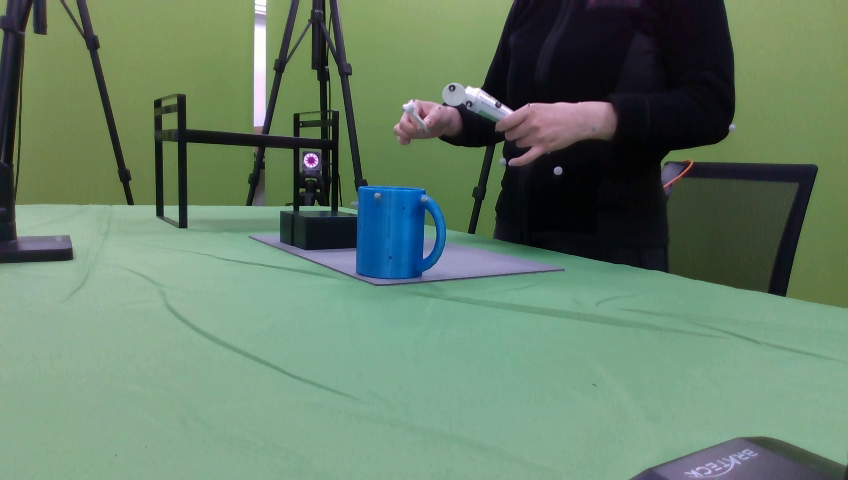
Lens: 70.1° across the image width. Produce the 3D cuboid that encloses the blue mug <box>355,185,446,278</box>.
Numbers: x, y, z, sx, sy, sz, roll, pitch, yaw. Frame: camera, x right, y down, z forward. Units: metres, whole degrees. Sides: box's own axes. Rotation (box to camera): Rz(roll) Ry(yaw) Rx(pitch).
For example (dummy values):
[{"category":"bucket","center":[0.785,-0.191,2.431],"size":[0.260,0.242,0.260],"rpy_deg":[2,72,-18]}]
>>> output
[{"category":"blue mug","center":[-0.027,-0.011,0.723],"size":[0.116,0.106,0.083],"rpy_deg":[6,8,27]}]

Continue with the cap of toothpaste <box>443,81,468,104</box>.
[{"category":"cap of toothpaste","center":[0.046,-0.216,0.881],"size":[0.037,0.037,0.011],"rpy_deg":[2,41,-2]}]

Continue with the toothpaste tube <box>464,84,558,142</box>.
[{"category":"toothpaste tube","center":[0.127,-0.189,0.914],"size":[0.165,0.034,0.055],"rpy_deg":[26,13,-12]}]

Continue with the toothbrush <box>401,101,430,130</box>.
[{"category":"toothbrush","center":[-0.010,-0.202,0.994],"size":[0.016,0.014,0.182],"rpy_deg":[-34,-6,9]}]
